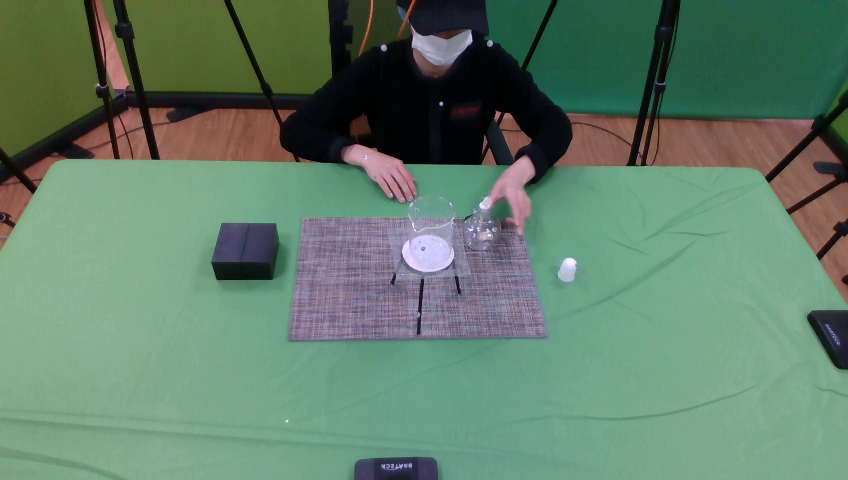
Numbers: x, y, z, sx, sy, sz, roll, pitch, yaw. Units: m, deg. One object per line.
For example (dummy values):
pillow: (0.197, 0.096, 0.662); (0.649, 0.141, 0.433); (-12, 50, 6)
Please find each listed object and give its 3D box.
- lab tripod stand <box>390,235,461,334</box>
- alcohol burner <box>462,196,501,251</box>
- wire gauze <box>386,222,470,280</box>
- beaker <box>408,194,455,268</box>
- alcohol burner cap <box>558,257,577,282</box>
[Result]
lab tripod stand: (-0.002, 0.067, 1.050); (0.148, 0.132, 0.147); (1, 47, -1)
alcohol burner: (0.112, -0.037, 1.173); (0.078, 0.120, 0.077); (1, 45, -1)
wire gauze: (0.005, 0.018, 1.006); (0.125, 0.011, 0.120); (-7, 45, -5)
beaker: (0.009, -0.010, 0.965); (0.074, 0.101, 0.084); (23, 50, 20)
alcohol burner cap: (0.276, 0.053, 1.153); (0.034, 0.048, 0.033); (2, 46, -2)
